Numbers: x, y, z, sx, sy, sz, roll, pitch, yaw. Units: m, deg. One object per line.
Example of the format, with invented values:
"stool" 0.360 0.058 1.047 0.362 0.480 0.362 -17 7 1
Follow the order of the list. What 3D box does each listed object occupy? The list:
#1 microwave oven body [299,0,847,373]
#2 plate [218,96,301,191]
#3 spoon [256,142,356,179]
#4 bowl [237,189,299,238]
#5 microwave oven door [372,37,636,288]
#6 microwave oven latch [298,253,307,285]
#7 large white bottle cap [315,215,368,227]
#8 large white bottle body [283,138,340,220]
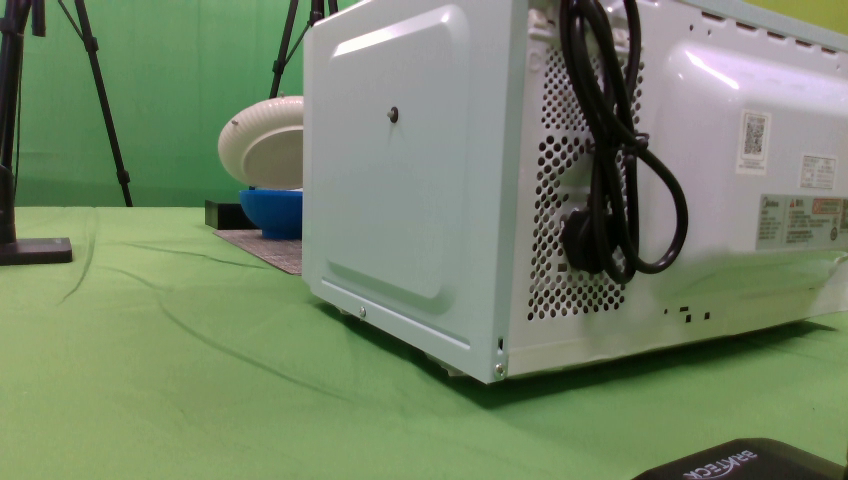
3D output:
"microwave oven body" 0.151 -0.055 0.542 0.444 0.260 0.324 -2 7 -33
"plate" -0.204 -0.135 0.927 0.209 0.038 0.209 -16 -26 -8
"spoon" -0.200 -0.144 1.051 0.194 0.041 0.021 -20 2 -29
"bowl" -0.245 -0.046 1.053 0.151 0.077 0.151 3 8 0
"microwave oven door" 0.110 -0.080 0.686 0.358 0.243 0.039 -2 9 -33
"microwave oven latch" -0.081 0.027 0.582 0.079 0.029 0.030 -1 7 -32
"large white bottle cap" -0.177 -0.041 1.309 0.115 0.018 0.115 2 6 0
"large white bottle body" -0.265 -0.144 1.424 0.131 0.184 0.130 2 7 0
